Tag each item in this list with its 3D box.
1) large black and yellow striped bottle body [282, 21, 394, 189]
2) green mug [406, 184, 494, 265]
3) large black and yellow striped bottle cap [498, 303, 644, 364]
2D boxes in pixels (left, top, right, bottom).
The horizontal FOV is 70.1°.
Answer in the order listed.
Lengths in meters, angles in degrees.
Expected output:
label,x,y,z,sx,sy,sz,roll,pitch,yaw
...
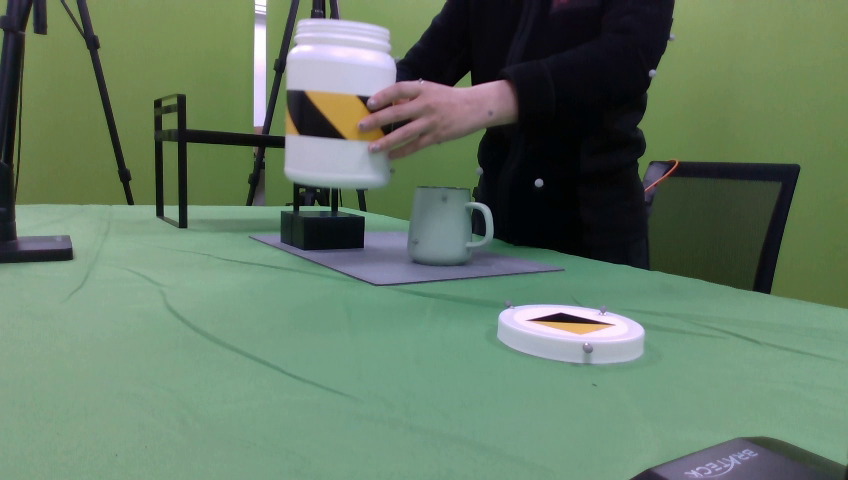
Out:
label,x,y,z,sx,sy,sz,roll,pitch,yaw
large black and yellow striped bottle body,-0.103,-0.160,0.729,0.131,0.184,0.130,4,12,0
green mug,0.038,-0.021,0.827,0.125,0.105,0.093,7,8,30
large black and yellow striped bottle cap,0.117,0.072,0.486,0.115,0.019,0.115,2,8,0
